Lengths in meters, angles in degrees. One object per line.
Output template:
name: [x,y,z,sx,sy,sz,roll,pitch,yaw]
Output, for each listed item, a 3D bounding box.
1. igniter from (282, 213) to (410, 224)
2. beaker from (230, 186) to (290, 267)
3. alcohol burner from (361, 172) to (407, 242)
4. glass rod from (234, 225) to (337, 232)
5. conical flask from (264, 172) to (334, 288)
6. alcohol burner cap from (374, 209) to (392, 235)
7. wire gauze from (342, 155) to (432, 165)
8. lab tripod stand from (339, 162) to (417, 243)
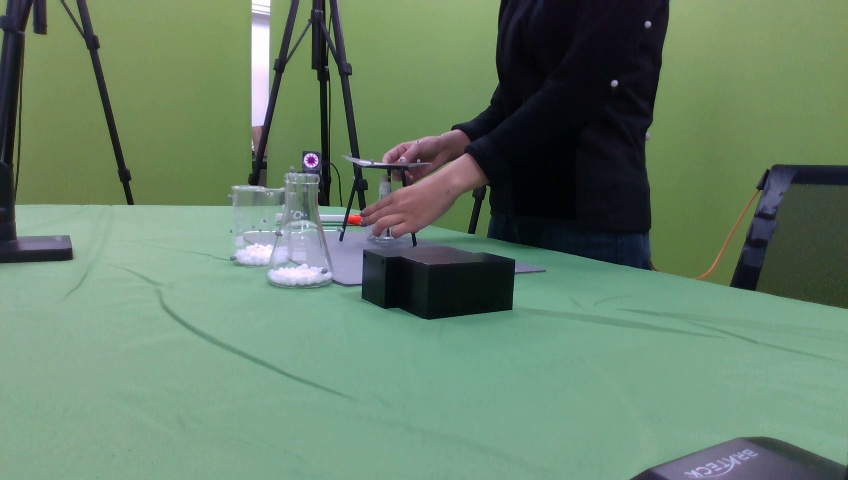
igniter: [-0.159,-0.046,1.287,0.278,0.025,0.057,-1,-3,-21]
beaker: [-0.209,-0.019,0.778,0.074,0.100,0.084,3,6,4]
alcohol burner: [-0.067,-0.056,1.030,0.078,0.119,0.078,4,9,0]
glass rod: [-0.256,-0.022,1.136,0.201,0.008,0.008,-3,8,-33]
conical flask: [-0.136,-0.013,0.660,0.075,0.122,0.075,2,7,0]
alcohol burner cap: [-0.078,-0.036,1.148,0.034,0.048,0.034,3,8,0]
wire gauze: [-0.064,-0.131,1.016,0.122,0.011,0.124,1,9,-26]
lab tripod stand: [-0.067,-0.065,1.028,0.148,0.131,0.148,4,7,0]
